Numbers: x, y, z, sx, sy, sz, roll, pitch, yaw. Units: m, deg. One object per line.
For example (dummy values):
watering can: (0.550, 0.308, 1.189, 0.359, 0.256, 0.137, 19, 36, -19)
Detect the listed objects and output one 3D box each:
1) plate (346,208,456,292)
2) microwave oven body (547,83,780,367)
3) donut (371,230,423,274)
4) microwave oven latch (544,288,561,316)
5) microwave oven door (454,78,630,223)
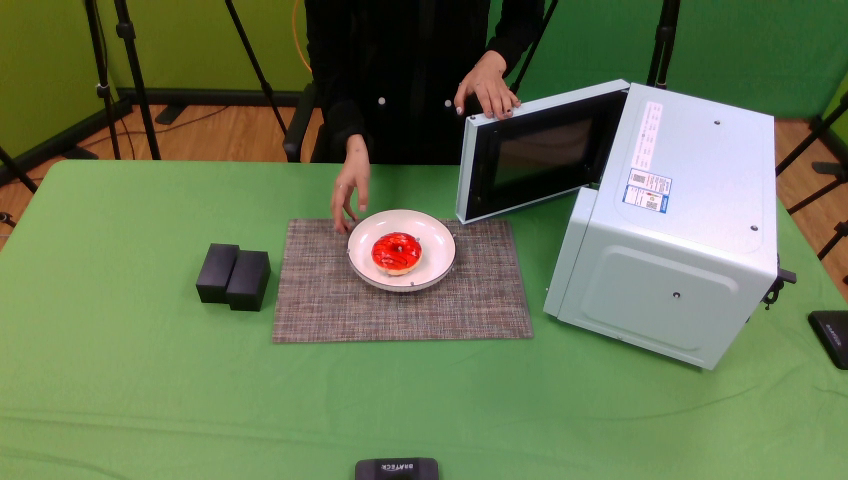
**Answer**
plate: (-0.044, 0.021, 1.159, 0.209, 0.038, 0.208, 2, 47, -2)
microwave oven body: (0.445, -0.041, 1.101, 0.325, 0.261, 0.440, 17, 47, 13)
donut: (-0.051, 0.022, 1.142, 0.099, 0.048, 0.098, 0, 45, 0)
microwave oven latch: (0.237, 0.098, 1.087, 0.030, 0.029, 0.079, 17, 47, 14)
microwave oven door: (0.234, -0.179, 1.210, 0.356, 0.245, 0.039, -18, 50, -20)
